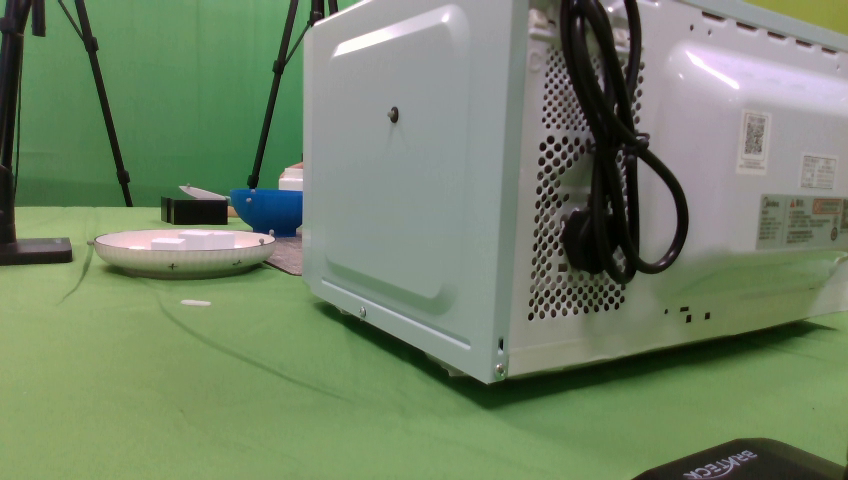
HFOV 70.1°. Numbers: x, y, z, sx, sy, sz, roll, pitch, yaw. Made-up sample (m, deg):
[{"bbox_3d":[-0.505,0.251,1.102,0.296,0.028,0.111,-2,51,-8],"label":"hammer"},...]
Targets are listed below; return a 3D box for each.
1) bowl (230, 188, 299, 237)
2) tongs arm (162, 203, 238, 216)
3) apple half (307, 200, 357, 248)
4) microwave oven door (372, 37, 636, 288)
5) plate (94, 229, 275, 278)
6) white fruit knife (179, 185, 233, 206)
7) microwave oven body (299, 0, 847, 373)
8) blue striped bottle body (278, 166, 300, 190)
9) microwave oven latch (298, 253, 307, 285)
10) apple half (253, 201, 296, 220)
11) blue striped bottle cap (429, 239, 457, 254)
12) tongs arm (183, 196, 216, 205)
[{"bbox_3d":[-0.265,-0.048,1.065,0.151,0.077,0.151,3,8,0],"label":"bowl"},{"bbox_3d":[-0.396,-0.067,1.399,0.389,0.028,0.028,1,5,-15],"label":"tongs arm"},{"bbox_3d":[-0.135,-0.024,0.941,0.053,0.074,0.081,13,8,39],"label":"apple half"},{"bbox_3d":[0.109,-0.080,0.686,0.358,0.243,0.039,-2,9,-33],"label":"microwave oven door"},{"bbox_3d":[-0.291,0.016,0.750,0.208,0.039,0.207,2,7,0],"label":"plate"},{"bbox_3d":[-0.413,-0.081,1.270,0.208,0.027,0.016,18,13,-41],"label":"white fruit knife"},{"bbox_3d":[0.151,-0.055,0.542,0.444,0.260,0.324,-2,7,-33],"label":"microwave oven body"},{"bbox_3d":[-0.270,-0.093,1.259,0.063,0.121,0.063,1,11,0],"label":"blue striped bottle body"},{"bbox_3d":[-0.081,0.027,0.582,0.079,0.029,0.030,-2,7,-32],"label":"microwave oven latch"},{"bbox_3d":[-0.264,-0.053,1.066,0.081,0.033,0.081,1,8,0],"label":"apple half"},{"bbox_3d":[0.029,0.011,0.946,0.044,0.020,0.044,1,4,0],"label":"blue striped bottle cap"},{"bbox_3d":[-0.404,-0.081,1.479,0.385,0.026,0.050,3,8,-2],"label":"tongs arm"}]
